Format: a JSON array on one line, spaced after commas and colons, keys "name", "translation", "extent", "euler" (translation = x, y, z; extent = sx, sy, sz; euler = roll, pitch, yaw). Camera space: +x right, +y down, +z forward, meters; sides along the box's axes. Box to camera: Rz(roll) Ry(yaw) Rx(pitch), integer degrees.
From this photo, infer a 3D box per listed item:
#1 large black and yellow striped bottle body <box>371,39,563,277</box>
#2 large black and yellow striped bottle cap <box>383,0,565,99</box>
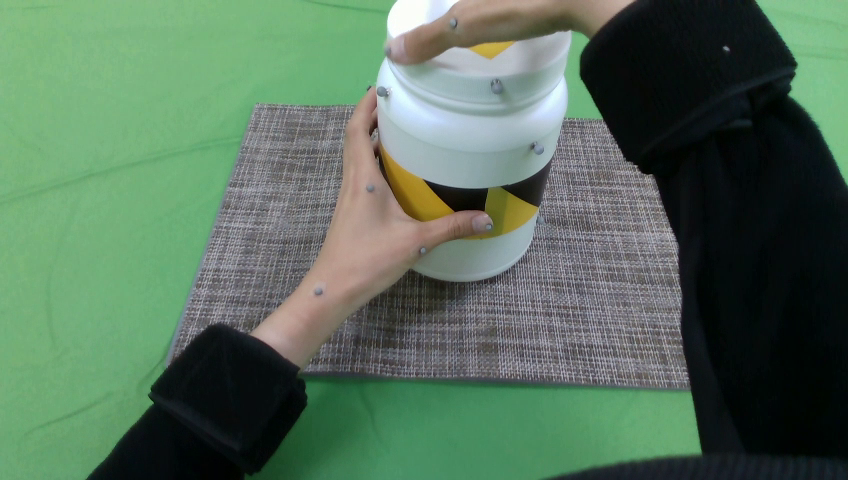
[{"name": "large black and yellow striped bottle body", "translation": [0.027, -0.075, 0.444], "extent": [0.131, 0.185, 0.129], "euler": [2, 49, -2]}, {"name": "large black and yellow striped bottle cap", "translation": [0.031, -0.131, 0.380], "extent": [0.115, 0.019, 0.114], "euler": [2, 51, -2]}]
